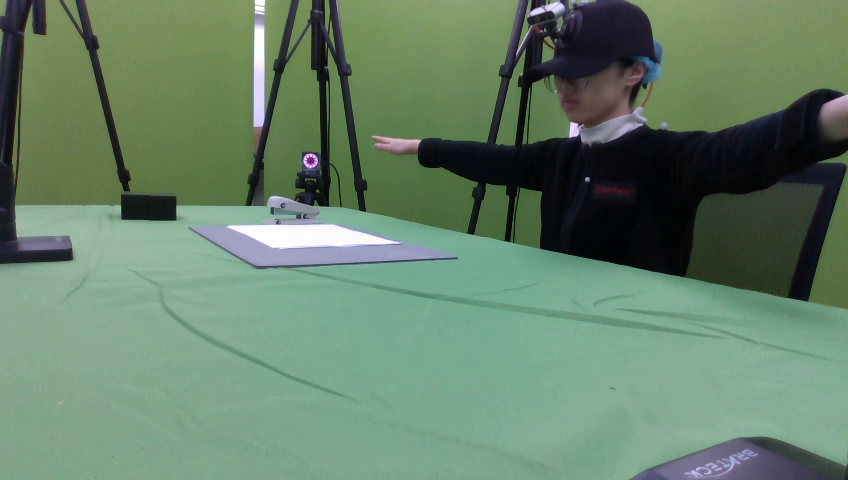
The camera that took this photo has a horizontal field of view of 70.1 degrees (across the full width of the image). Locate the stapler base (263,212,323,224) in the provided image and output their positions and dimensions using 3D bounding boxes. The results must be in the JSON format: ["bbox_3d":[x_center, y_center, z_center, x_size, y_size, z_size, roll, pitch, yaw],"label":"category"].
[{"bbox_3d":[-0.277,-0.048,1.279,0.041,0.024,0.131,12,10,43],"label":"stapler base"}]

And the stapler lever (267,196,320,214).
[{"bbox_3d":[-0.275,-0.073,1.277,0.026,0.040,0.119,12,10,43],"label":"stapler lever"}]
